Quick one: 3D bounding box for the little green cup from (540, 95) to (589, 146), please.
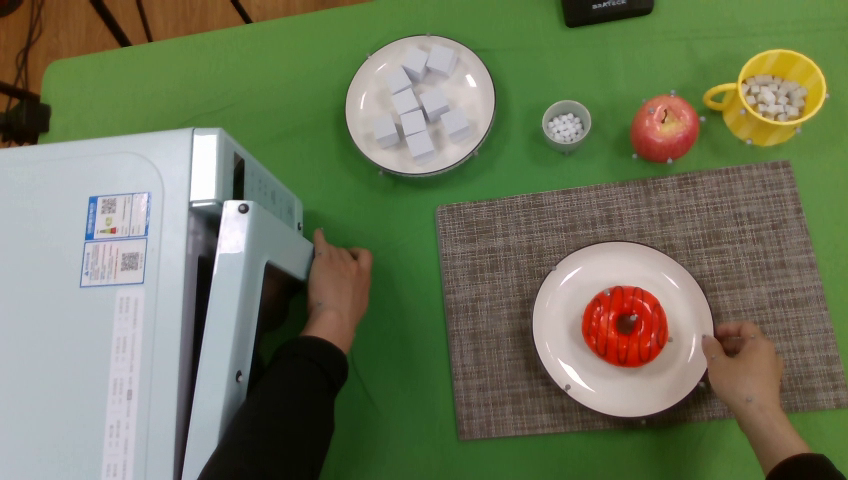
[{"bbox_3d":[0.184,-0.154,0.795,0.061,0.039,0.061,-2,76,8],"label":"little green cup"}]

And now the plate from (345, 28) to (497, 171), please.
[{"bbox_3d":[-0.003,-0.189,0.831,0.207,0.039,0.206,-2,76,8],"label":"plate"}]

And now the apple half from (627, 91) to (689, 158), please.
[{"bbox_3d":[0.284,-0.136,0.759,0.053,0.075,0.080,-33,78,4],"label":"apple half"}]

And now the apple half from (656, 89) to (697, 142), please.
[{"bbox_3d":[0.317,-0.158,0.758,0.033,0.082,0.081,-34,74,4],"label":"apple half"}]

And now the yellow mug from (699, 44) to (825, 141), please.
[{"bbox_3d":[0.413,-0.182,0.754,0.130,0.064,0.099,4,77,10],"label":"yellow mug"}]

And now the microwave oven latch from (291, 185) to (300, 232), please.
[{"bbox_3d":[-0.180,-0.031,0.799,0.030,0.029,0.079,-5,77,7],"label":"microwave oven latch"}]

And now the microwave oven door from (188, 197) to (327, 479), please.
[{"bbox_3d":[-0.172,0.156,0.648,0.039,0.245,0.354,2,77,9],"label":"microwave oven door"}]

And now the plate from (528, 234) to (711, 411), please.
[{"bbox_3d":[0.230,0.097,0.725,0.209,0.038,0.208,-2,77,8],"label":"plate"}]

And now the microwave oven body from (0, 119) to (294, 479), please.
[{"bbox_3d":[-0.335,0.127,0.684,0.326,0.261,0.439,-4,77,7],"label":"microwave oven body"}]

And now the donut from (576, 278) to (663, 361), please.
[{"bbox_3d":[0.230,0.094,0.714,0.099,0.048,0.098,-1,79,8],"label":"donut"}]
